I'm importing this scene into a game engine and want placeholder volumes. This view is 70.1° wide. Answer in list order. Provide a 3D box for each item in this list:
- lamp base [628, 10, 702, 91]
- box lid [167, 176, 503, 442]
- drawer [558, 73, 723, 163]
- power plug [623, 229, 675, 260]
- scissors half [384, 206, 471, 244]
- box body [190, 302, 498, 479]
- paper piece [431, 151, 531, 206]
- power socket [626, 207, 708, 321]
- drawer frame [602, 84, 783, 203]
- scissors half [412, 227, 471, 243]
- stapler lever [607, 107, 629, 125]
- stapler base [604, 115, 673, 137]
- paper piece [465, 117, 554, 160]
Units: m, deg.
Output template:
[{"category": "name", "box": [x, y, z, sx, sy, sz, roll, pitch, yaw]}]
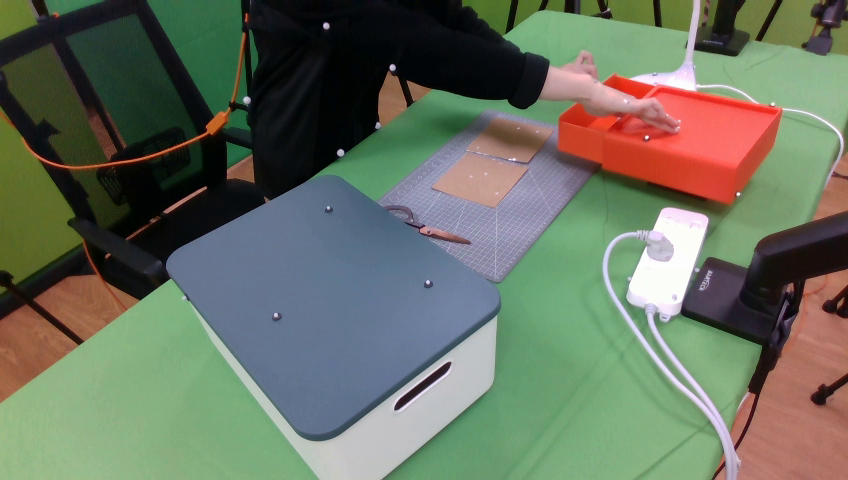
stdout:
[{"category": "lamp base", "box": [0.484, -0.364, 1.211, 0.180, 0.181, 0.159, -15, 41, -14]}, {"category": "box lid", "box": [-0.119, 0.047, 0.714, 0.264, 0.015, 0.368, -32, 47, -27]}, {"category": "drawer", "box": [0.370, -0.199, 1.042, 0.210, 0.073, 0.195, 27, 50, 35]}, {"category": "power plug", "box": [0.327, 0.007, 0.878, 0.072, 0.053, 0.035, 25, 50, 33]}, {"category": "scissors half", "box": [0.001, -0.024, 1.005, 0.174, 0.013, 0.040, 22, 57, 25]}, {"category": "box body", "box": [-0.110, 0.103, 0.761, 0.255, 0.161, 0.361, -33, 46, -27]}, {"category": "paper piece", "box": [0.104, -0.116, 1.104, 0.135, 0.004, 0.136, 20, 47, 29]}, {"category": "power socket", "box": [0.360, 0.026, 0.886, 0.072, 0.033, 0.227, 16, 46, 26]}, {"category": "drawer frame", "box": [0.437, -0.167, 0.995, 0.212, 0.083, 0.202, 24, 49, 35]}, {"category": "scissors half", "box": [-0.007, -0.010, 0.993, 0.174, 0.013, 0.040, 8, 47, 15]}, {"category": "stapler lever", "box": [0.373, -0.222, 1.064, 0.118, 0.040, 0.026, -21, 15, -20]}, {"category": "stapler base", "box": [0.377, -0.204, 1.067, 0.131, 0.024, 0.041, -13, 12, -22]}, {"category": "paper piece", "box": [0.170, -0.201, 1.195, 0.137, 0.009, 0.136, 17, 42, 27]}]
